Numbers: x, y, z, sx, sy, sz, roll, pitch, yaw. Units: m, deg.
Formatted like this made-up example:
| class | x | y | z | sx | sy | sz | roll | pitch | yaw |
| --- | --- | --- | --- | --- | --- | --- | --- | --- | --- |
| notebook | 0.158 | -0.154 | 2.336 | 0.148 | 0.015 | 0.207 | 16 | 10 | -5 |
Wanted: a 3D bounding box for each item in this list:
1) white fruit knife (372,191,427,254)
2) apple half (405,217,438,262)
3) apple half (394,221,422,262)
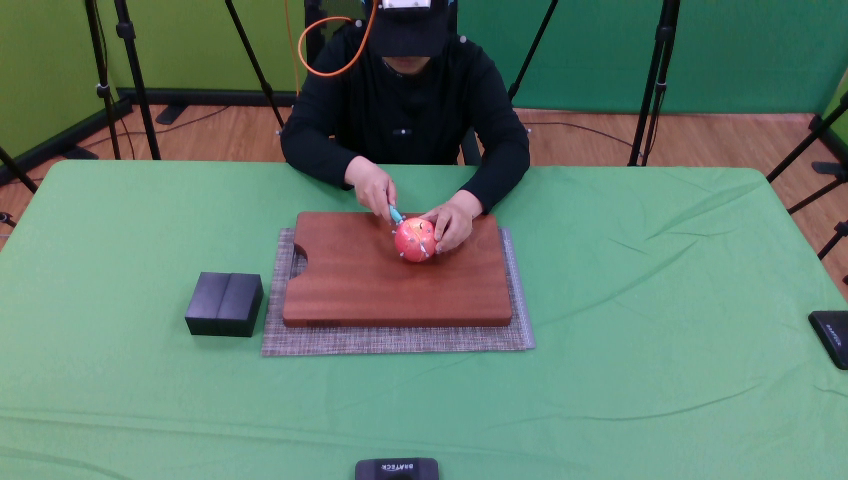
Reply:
| class | x | y | z | sx | sy | sz | roll | pitch | yaw |
| --- | --- | --- | --- | --- | --- | --- | --- | --- | --- |
| white fruit knife | -0.047 | -0.036 | 1.136 | 0.016 | 0.027 | 0.206 | -20 | 45 | -24 |
| apple half | -0.002 | -0.003 | 1.126 | 0.053 | 0.075 | 0.080 | -17 | 45 | -26 |
| apple half | -0.036 | 0.009 | 1.111 | 0.033 | 0.081 | 0.081 | -20 | 50 | -25 |
